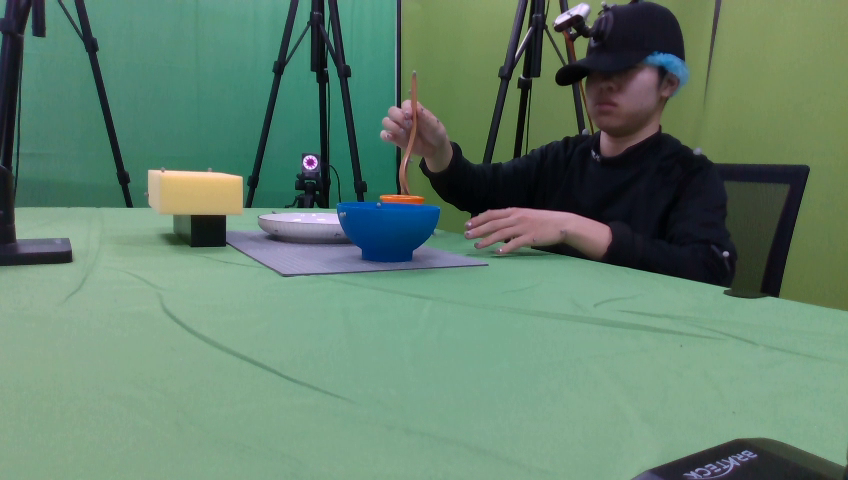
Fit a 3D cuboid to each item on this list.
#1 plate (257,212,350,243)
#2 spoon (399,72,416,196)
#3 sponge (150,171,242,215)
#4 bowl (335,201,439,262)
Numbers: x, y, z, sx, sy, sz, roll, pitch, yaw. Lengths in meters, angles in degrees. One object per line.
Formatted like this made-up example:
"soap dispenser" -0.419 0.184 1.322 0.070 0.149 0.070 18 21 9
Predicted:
"plate" -0.189 -0.023 1.072 0.209 0.038 0.209 3 7 0
"spoon" -0.022 -0.168 0.959 0.021 0.193 0.041 7 5 5
"sponge" -0.379 -0.079 0.994 0.119 0.061 0.206 -1 8 -29
"bowl" -0.054 -0.012 0.871 0.151 0.077 0.151 3 8 0
